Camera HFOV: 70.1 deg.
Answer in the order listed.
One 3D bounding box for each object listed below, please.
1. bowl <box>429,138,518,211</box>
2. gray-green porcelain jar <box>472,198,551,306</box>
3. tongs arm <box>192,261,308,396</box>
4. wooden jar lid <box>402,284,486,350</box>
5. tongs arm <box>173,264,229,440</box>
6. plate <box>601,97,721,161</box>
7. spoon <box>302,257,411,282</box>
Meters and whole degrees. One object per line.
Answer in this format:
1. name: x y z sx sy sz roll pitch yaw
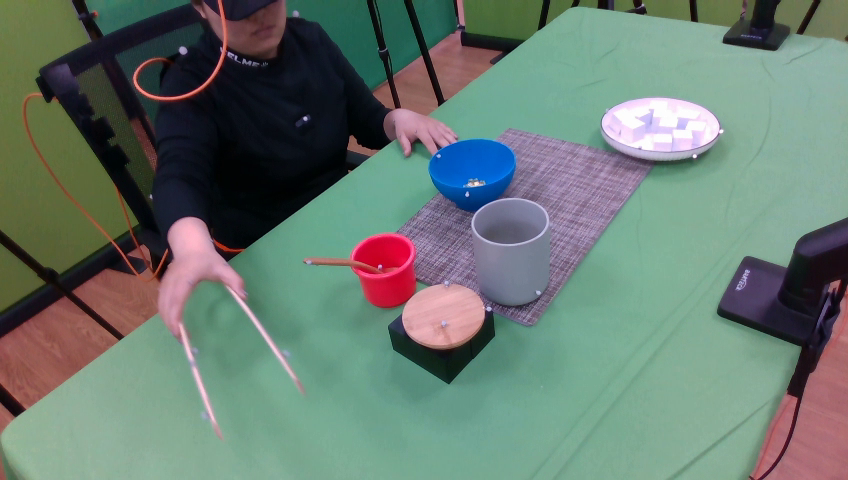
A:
1. bowl: 0.087 -0.104 1.043 0.151 0.077 0.150 -5 40 5
2. gray-green porcelain jar: 0.125 0.021 0.850 0.106 0.127 0.105 -6 40 5
3. tongs arm: -0.234 0.099 0.783 0.028 0.028 0.384 -34 34 -20
4. wooden jar lid: 0.026 0.101 0.786 0.108 0.021 0.108 -5 39 4
5. tongs arm: -0.277 0.121 0.766 0.051 0.026 0.381 -29 32 -19
6. plate: 0.436 -0.203 1.126 0.209 0.038 0.208 -5 39 5
7. spoon: -0.092 0.038 0.865 0.195 0.021 0.041 16 15 -46
